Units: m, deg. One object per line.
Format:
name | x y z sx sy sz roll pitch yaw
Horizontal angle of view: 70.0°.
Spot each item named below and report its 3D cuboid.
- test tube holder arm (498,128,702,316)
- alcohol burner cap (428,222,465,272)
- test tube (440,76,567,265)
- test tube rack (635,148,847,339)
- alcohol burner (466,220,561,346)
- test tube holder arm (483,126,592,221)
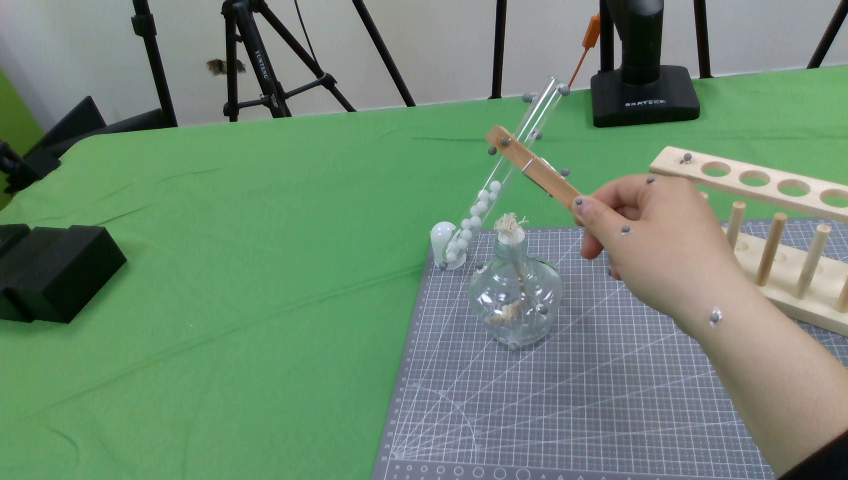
test tube holder arm | 0.111 -0.016 0.406 0.177 0.015 0.013 44 22 16
alcohol burner cap | 0.020 0.004 0.584 0.034 0.048 0.033 -7 41 6
test tube | 0.053 -0.045 0.426 0.017 0.150 0.017 29 16 -8
test tube rack | 0.286 0.006 0.471 0.240 0.086 0.066 22 52 36
alcohol burner | 0.070 0.029 0.483 0.078 0.120 0.077 -7 41 6
test tube holder arm | 0.077 -0.045 0.411 0.087 0.015 0.010 42 21 10
